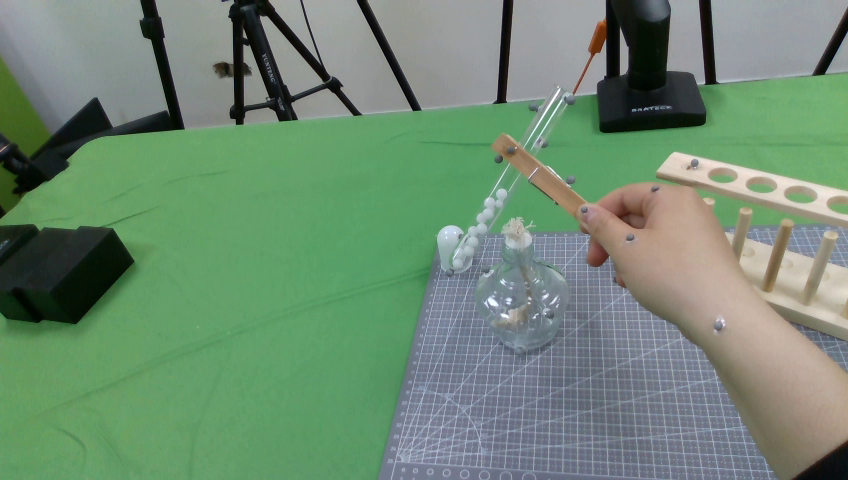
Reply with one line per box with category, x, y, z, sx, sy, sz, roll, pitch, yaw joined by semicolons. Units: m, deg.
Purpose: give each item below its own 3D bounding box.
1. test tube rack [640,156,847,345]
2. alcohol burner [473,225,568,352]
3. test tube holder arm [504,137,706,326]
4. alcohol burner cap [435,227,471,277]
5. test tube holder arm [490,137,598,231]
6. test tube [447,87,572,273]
test tube rack;0.292;0.013;0.471;0.240;0.086;0.066;23;51;36
alcohol burner;0.076;0.034;0.485;0.078;0.120;0.077;-7;41;6
test tube holder arm;0.116;-0.010;0.410;0.177;0.015;0.013;44;24;16
alcohol burner cap;0.027;0.009;0.586;0.034;0.048;0.033;-7;40;6
test tube holder arm;0.082;-0.039;0.416;0.087;0.015;0.010;42;23;10
test tube;0.058;-0.039;0.430;0.017;0.150;0.017;29;16;-8
